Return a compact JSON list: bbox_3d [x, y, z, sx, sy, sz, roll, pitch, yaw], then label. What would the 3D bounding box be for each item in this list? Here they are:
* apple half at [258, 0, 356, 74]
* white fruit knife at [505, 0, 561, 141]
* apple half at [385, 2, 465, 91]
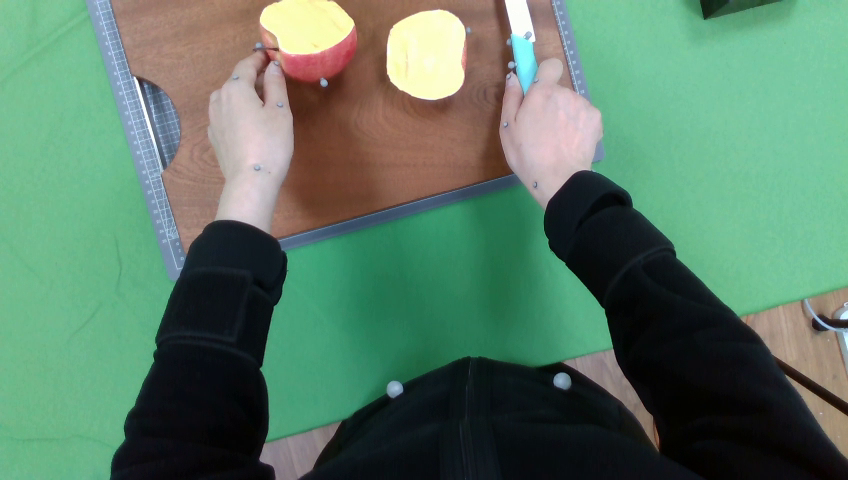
[{"bbox_3d":[-0.103,-0.180,0.541,0.074,0.054,0.080,-33,64,-21],"label":"apple half"},{"bbox_3d":[0.090,-0.190,0.558,0.027,0.016,0.207,-12,87,-18],"label":"white fruit knife"},{"bbox_3d":[0.003,-0.177,0.558,0.081,0.032,0.081,2,104,10],"label":"apple half"}]
